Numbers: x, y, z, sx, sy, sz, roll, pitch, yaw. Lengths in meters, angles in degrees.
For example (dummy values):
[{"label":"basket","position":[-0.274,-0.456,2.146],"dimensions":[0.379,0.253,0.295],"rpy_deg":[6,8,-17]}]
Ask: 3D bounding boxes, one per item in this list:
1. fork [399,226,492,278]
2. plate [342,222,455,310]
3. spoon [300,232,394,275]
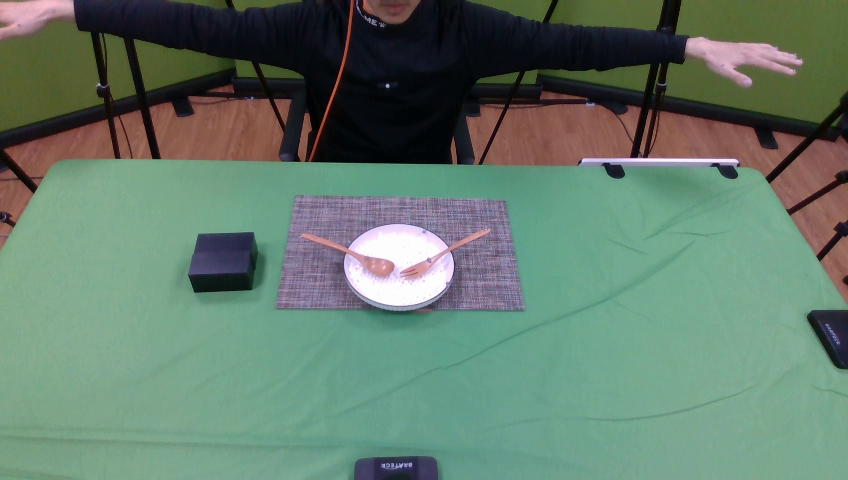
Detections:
[{"label":"fork","position":[0.044,0.021,1.144],"dimensions":[0.207,0.019,0.028],"rpy_deg":[-29,53,-18]},{"label":"plate","position":[-0.047,0.052,1.127],"dimensions":[0.209,0.038,0.208],"rpy_deg":[2,46,-2]},{"label":"spoon","position":[-0.145,0.020,1.126],"dimensions":[0.193,0.022,0.041],"rpy_deg":[24,53,8]}]
